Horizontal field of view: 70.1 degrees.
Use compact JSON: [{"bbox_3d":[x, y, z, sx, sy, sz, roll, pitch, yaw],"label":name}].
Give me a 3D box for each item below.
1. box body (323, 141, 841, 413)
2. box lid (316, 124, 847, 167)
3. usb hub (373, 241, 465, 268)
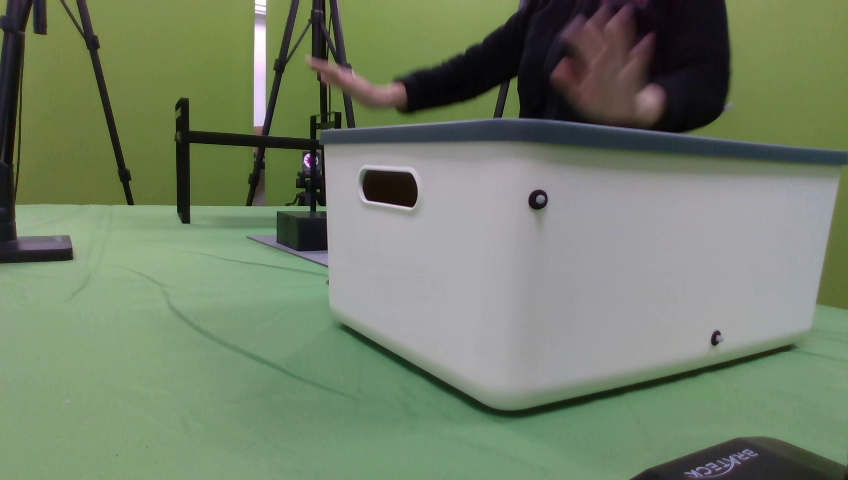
[{"bbox_3d":[0.123,0.001,0.499,0.366,0.160,0.253,-3,9,-33],"label":"box body"},{"bbox_3d":[0.127,-0.072,0.491,0.373,0.015,0.262,-2,9,-33],"label":"box lid"},{"bbox_3d":[-0.005,0.018,0.826,0.126,0.025,0.049,-3,9,-39],"label":"usb hub"}]
